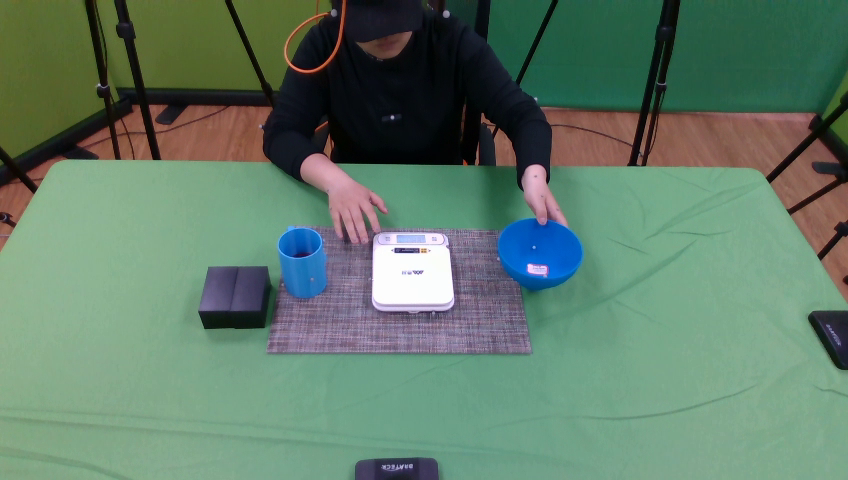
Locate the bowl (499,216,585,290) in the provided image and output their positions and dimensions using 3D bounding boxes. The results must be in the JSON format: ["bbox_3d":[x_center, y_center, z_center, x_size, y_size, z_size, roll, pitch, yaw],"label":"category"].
[{"bbox_3d":[0.205,0.037,1.085,0.151,0.077,0.150,0,46,0],"label":"bowl"}]

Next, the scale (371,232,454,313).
[{"bbox_3d":[-0.023,0.051,1.134,0.149,0.032,0.199,1,46,-4],"label":"scale"}]

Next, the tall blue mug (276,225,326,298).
[{"bbox_3d":[-0.228,0.033,1.083,0.107,0.108,0.077,30,52,23],"label":"tall blue mug"}]
